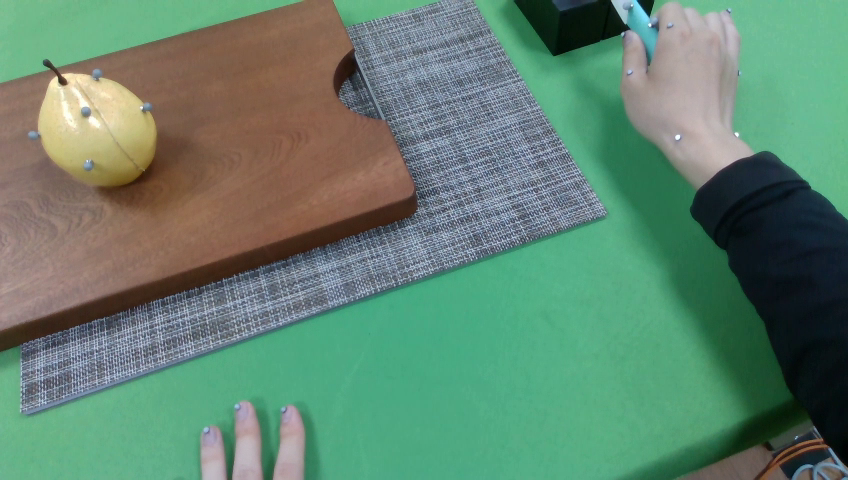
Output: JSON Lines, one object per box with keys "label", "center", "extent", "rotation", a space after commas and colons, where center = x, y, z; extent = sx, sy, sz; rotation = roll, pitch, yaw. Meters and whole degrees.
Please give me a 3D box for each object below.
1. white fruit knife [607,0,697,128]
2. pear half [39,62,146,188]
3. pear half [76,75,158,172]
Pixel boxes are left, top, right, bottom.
{"label": "white fruit knife", "center": [0.172, -0.188, 0.509], "extent": [0.016, 0.027, 0.206], "rotation": [-24, 80, -16]}
{"label": "pear half", "center": [-0.259, -0.084, 0.449], "extent": [0.056, 0.111, 0.075], "rotation": [-33, 58, -16]}
{"label": "pear half", "center": [-0.229, -0.095, 0.466], "extent": [0.031, 0.089, 0.070], "rotation": [-32, 58, -16]}
